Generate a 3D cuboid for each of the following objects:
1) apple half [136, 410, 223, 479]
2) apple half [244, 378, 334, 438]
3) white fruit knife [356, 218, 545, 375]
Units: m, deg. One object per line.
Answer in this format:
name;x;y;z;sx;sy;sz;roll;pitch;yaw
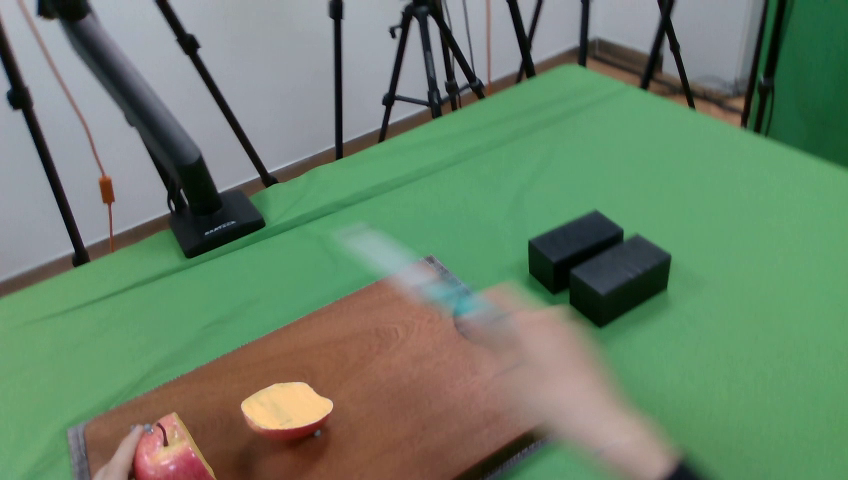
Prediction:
apple half;-0.208;0.192;0.508;0.053;0.075;0.080;-35;47;-24
apple half;-0.126;0.162;0.556;0.081;0.033;0.081;5;18;-1
white fruit knife;0.016;0.038;0.501;0.206;0.027;0.016;36;31;21
